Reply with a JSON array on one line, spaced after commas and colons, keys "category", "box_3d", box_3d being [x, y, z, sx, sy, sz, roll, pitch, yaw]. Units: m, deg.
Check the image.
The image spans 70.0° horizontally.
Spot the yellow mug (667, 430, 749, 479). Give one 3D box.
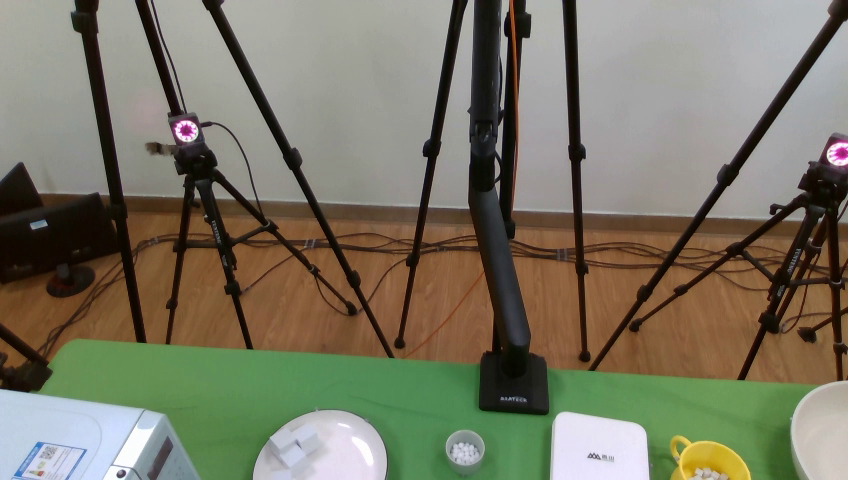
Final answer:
[{"category": "yellow mug", "box_3d": [0.416, 0.344, 0.915, 0.100, 0.064, 0.129, -19, 43, -18]}]

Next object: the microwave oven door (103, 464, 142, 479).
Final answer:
[{"category": "microwave oven door", "box_3d": [-0.376, 0.461, 0.650, 0.039, 0.246, 0.353, 5, 42, 8]}]

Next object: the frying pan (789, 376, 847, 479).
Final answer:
[{"category": "frying pan", "box_3d": [0.729, 0.390, 0.819, 0.307, 0.103, 0.482, -15, 35, -13]}]

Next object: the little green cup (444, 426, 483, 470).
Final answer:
[{"category": "little green cup", "box_3d": [0.064, 0.332, 0.963, 0.061, 0.039, 0.061, -1, 41, 1]}]

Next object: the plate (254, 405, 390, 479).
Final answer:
[{"category": "plate", "box_3d": [-0.156, 0.356, 0.945, 0.208, 0.039, 0.205, -1, 41, 1]}]

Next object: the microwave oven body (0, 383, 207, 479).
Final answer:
[{"category": "microwave oven body", "box_3d": [-0.513, 0.425, 0.704, 0.325, 0.262, 0.438, 5, 42, 8]}]

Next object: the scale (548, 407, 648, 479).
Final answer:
[{"category": "scale", "box_3d": [0.268, 0.356, 0.932, 0.148, 0.032, 0.199, 6, 42, 10]}]
